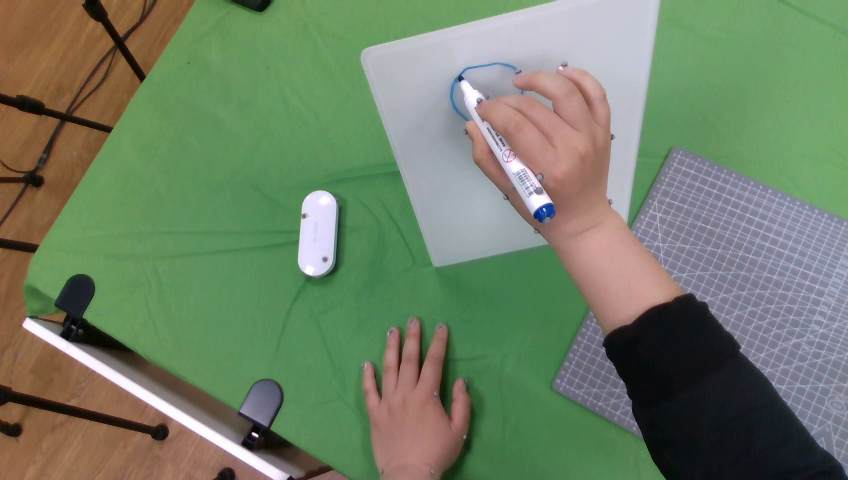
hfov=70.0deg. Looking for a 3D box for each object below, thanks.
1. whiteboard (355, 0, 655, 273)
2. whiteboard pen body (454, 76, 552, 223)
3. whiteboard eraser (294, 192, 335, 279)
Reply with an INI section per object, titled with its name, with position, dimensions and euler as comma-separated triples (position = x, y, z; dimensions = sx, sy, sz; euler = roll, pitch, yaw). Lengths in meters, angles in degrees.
[whiteboard]
position = 0.076, -0.126, 0.582
dimensions = 0.217, 0.308, 0.142
euler = -12, 55, 5
[whiteboard pen body]
position = 0.051, -0.069, 0.425
dimensions = 0.017, 0.017, 0.139
euler = -27, 62, 1
[whiteboard eraser]
position = -0.125, -0.006, 0.693
dimensions = 0.041, 0.019, 0.101
euler = 1, 77, 6
